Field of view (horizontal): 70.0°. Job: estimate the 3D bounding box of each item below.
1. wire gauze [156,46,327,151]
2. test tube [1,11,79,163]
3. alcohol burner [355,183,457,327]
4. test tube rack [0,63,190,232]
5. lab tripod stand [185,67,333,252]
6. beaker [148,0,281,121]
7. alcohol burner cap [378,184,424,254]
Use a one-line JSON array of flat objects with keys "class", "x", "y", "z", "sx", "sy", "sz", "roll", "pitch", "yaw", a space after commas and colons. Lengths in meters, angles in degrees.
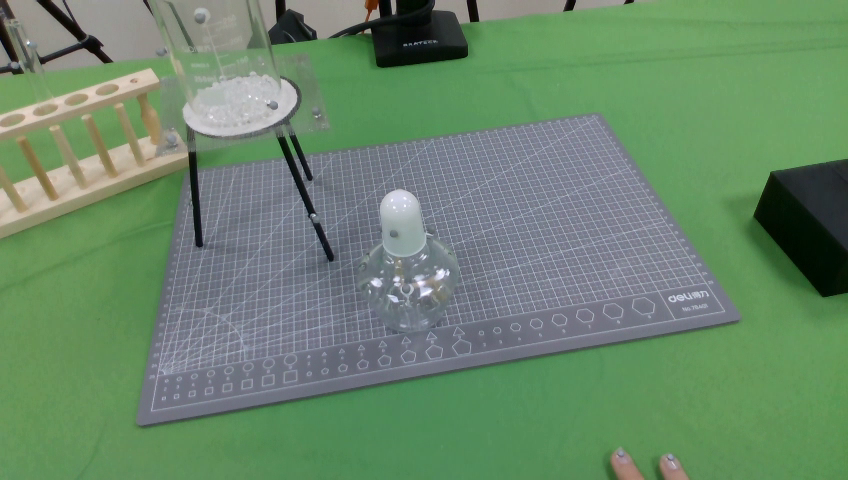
[{"class": "wire gauze", "x": -0.144, "y": -0.111, "z": 0.470, "sx": 0.125, "sy": 0.011, "sz": 0.120, "roll": -15, "pitch": 44, "yaw": -6}, {"class": "test tube", "x": -0.360, "y": -0.139, "z": 0.573, "sx": 0.017, "sy": 0.151, "sz": 0.017, "roll": 0, "pitch": 38, "yaw": 0}, {"class": "alcohol burner", "x": -0.014, "y": 0.008, "z": 0.447, "sx": 0.078, "sy": 0.120, "sz": 0.077, "roll": -2, "pitch": 43, "yaw": 2}, {"class": "test tube rack", "x": -0.364, "y": -0.085, "z": 0.591, "sx": 0.242, "sy": 0.086, "sz": 0.066, "roll": -26, "pitch": 49, "yaw": -21}, {"class": "lab tripod stand", "x": -0.140, "y": -0.065, "z": 0.516, "sx": 0.148, "sy": 0.133, "sz": 0.147, "roll": -2, "pitch": 47, "yaw": 3}, {"class": "beaker", "x": -0.149, "y": -0.143, "z": 0.433, "sx": 0.084, "sy": 0.101, "sz": 0.073, "roll": -7, "pitch": 44, "yaw": -1}, {"class": "alcohol burner cap", "x": -0.018, "y": -0.018, "z": 0.422, "sx": 0.034, "sy": 0.048, "sz": 0.033, "roll": -3, "pitch": 47, "yaw": 3}]
